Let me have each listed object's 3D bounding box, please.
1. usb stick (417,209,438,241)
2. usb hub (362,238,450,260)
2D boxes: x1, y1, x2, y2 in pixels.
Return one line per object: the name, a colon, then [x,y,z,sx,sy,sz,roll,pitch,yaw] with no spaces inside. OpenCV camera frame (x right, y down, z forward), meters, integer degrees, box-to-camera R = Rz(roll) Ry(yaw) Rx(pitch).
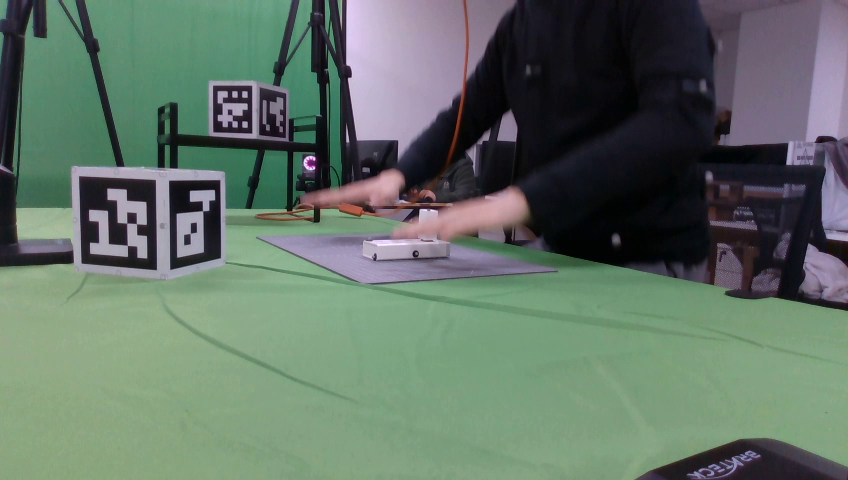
usb stick: [0.005,-0.016,0.904,0.021,0.059,0.027,-2,7,-32]
usb hub: [-0.026,0.013,0.894,0.126,0.025,0.049,-1,8,-31]
